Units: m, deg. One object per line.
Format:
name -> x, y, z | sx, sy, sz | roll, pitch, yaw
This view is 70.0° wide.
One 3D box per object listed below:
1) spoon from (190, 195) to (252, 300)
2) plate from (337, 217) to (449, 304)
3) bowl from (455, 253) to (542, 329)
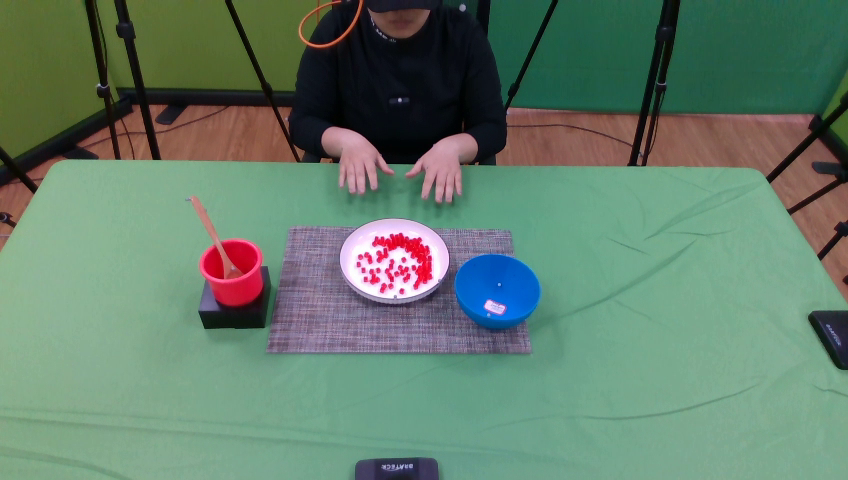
spoon -> -0.339, 0.012, 1.007 | 0.041, 0.021, 0.194 | -27, 97, -26
plate -> -0.058, 0.042, 1.136 | 0.208, 0.039, 0.206 | 2, 46, -2
bowl -> 0.125, 0.103, 1.062 | 0.151, 0.077, 0.150 | 2, 46, -2
